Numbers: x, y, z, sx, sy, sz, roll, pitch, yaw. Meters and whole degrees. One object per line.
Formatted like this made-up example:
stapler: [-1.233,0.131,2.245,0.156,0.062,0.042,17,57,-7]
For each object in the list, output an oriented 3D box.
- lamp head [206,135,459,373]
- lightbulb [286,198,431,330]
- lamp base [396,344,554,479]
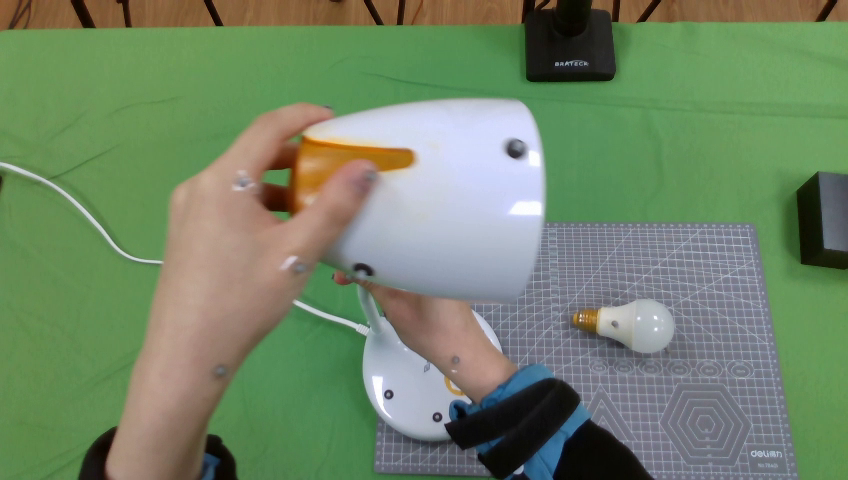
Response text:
lamp head: [-0.056,0.021,0.318,0.113,0.123,0.111,19,57,-32]
lightbulb: [-0.041,0.018,0.292,0.060,0.107,0.059,15,64,-34]
lamp base: [0.045,0.161,0.607,0.179,0.182,0.159,9,67,11]
